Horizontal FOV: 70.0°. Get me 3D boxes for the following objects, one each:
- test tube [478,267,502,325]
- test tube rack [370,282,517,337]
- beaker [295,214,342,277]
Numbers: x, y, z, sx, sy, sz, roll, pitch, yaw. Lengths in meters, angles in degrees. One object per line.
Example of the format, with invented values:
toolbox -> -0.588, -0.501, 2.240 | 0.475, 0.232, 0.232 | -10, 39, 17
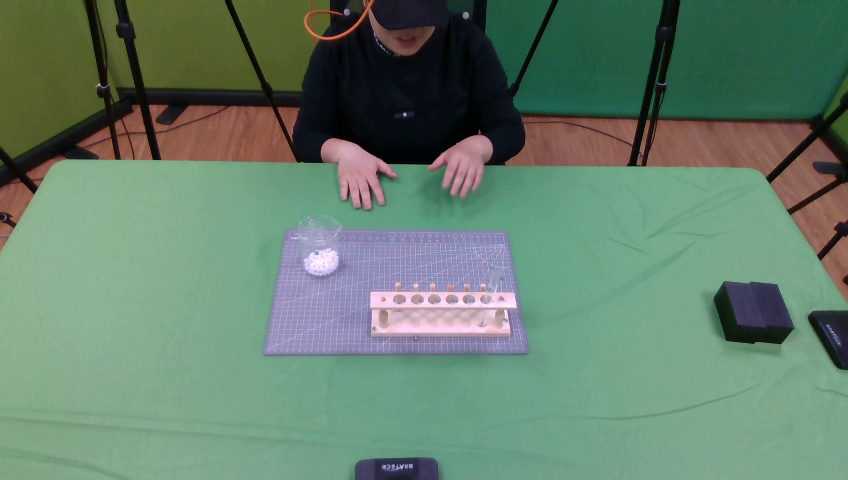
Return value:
test tube -> 0.107, 0.096, 0.998 | 0.017, 0.151, 0.017 | 4, 48, -4
test tube rack -> 0.030, 0.116, 1.041 | 0.242, 0.085, 0.066 | 1, 46, -4
beaker -> -0.191, 0.013, 1.114 | 0.084, 0.101, 0.073 | -12, 49, -17
